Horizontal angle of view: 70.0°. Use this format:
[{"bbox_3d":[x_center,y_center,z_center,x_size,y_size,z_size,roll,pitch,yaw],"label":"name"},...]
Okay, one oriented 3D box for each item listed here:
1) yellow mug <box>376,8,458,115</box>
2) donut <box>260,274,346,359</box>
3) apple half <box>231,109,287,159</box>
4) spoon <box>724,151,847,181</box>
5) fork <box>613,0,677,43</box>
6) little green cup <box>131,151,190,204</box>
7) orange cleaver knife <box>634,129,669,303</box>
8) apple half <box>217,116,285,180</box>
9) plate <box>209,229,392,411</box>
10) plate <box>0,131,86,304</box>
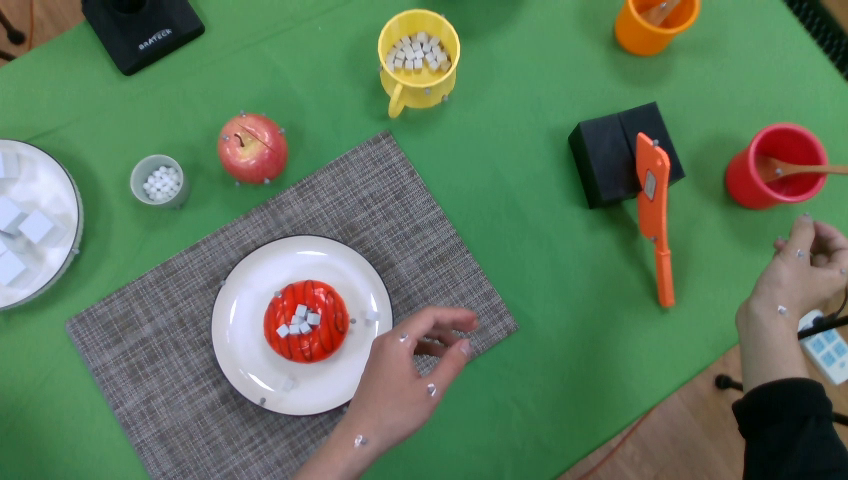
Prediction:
[{"bbox_3d":[-0.016,-0.215,0.759,0.100,0.064,0.130,25,81,2],"label":"yellow mug"},{"bbox_3d":[-0.139,0.088,0.699,0.099,0.048,0.098,0,82,-2],"label":"donut"},{"bbox_3d":[-0.191,-0.133,0.732,0.081,0.081,0.033,36,84,5],"label":"apple half"},{"bbox_3d":[0.461,-0.086,0.719,0.192,0.022,0.041,8,74,44],"label":"spoon"},{"bbox_3d":[0.330,-0.313,0.750,0.207,0.019,0.028,-31,77,36],"label":"fork"},{"bbox_3d":[-0.316,-0.073,0.734,0.061,0.039,0.061,0,80,-2],"label":"little green cup"},{"bbox_3d":[0.272,-0.026,0.728,0.012,0.076,0.213,-14,112,-4],"label":"orange cleaver knife"},{"bbox_3d":[-0.214,-0.102,0.727,0.081,0.075,0.053,37,85,1],"label":"apple half"},{"bbox_3d":[-0.141,0.092,0.709,0.209,0.038,0.208,1,80,-2],"label":"plate"},{"bbox_3d":[-0.504,-0.025,0.717,0.208,0.039,0.207,1,80,-2],"label":"plate"}]
